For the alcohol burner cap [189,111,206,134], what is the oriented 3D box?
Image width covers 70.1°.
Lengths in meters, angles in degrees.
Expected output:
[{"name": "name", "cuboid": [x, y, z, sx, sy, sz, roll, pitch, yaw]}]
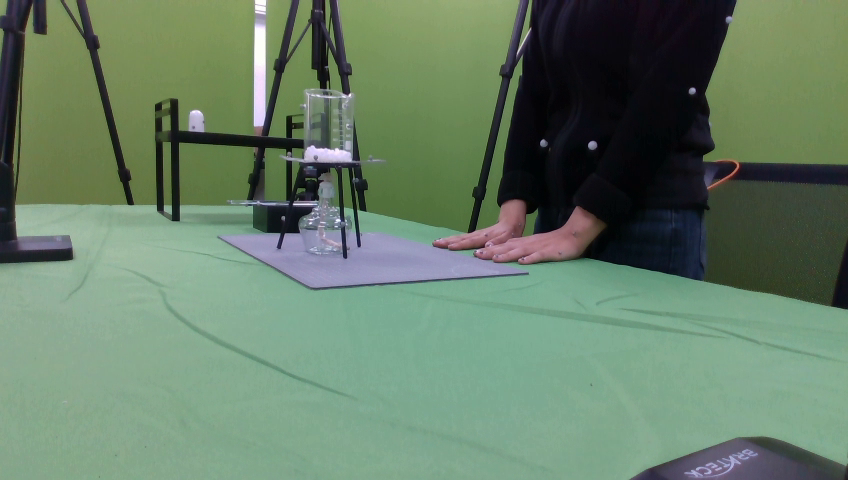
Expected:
[{"name": "alcohol burner cap", "cuboid": [-0.469, -0.244, 1.252, 0.034, 0.048, 0.034, 2, 7, 0]}]

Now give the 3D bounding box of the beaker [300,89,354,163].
[{"name": "beaker", "cuboid": [-0.137, -0.161, 0.869, 0.083, 0.100, 0.074, 9, 10, 42]}]

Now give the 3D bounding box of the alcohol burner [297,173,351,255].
[{"name": "alcohol burner", "cuboid": [-0.144, -0.038, 0.880, 0.078, 0.119, 0.078, 4, 6, 0]}]

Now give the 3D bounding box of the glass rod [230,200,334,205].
[{"name": "glass rod", "cuboid": [-0.265, -0.070, 1.144, 0.201, 0.008, 0.008, -1, 8, -31]}]

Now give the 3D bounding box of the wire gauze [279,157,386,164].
[{"name": "wire gauze", "cuboid": [-0.134, -0.113, 0.875, 0.122, 0.011, 0.124, -1, 6, -30]}]

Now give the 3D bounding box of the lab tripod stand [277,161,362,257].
[{"name": "lab tripod stand", "cuboid": [-0.143, -0.049, 0.884, 0.148, 0.131, 0.148, 1, 9, 0]}]
